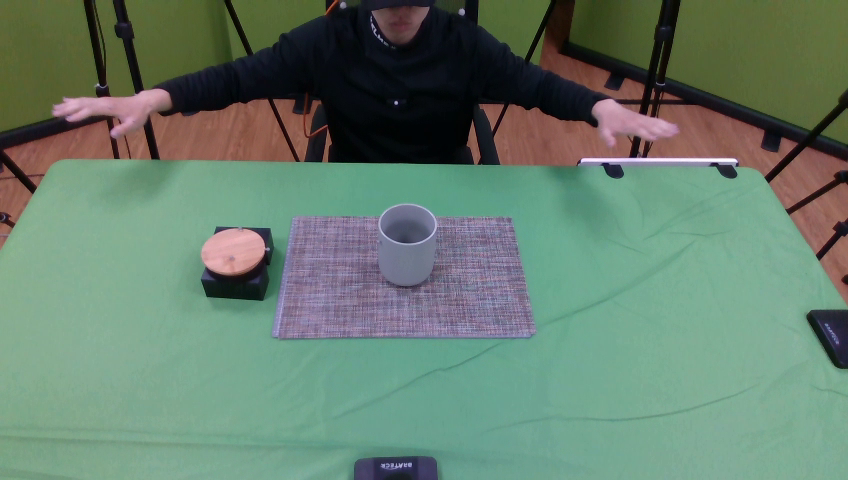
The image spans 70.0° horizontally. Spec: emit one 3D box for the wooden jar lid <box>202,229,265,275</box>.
[{"bbox_3d":[-0.340,0.023,1.084,0.108,0.021,0.107,3,45,-2],"label":"wooden jar lid"}]

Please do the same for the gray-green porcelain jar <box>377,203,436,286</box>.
[{"bbox_3d":[-0.033,0.014,1.106,0.106,0.127,0.105,2,46,-2],"label":"gray-green porcelain jar"}]
